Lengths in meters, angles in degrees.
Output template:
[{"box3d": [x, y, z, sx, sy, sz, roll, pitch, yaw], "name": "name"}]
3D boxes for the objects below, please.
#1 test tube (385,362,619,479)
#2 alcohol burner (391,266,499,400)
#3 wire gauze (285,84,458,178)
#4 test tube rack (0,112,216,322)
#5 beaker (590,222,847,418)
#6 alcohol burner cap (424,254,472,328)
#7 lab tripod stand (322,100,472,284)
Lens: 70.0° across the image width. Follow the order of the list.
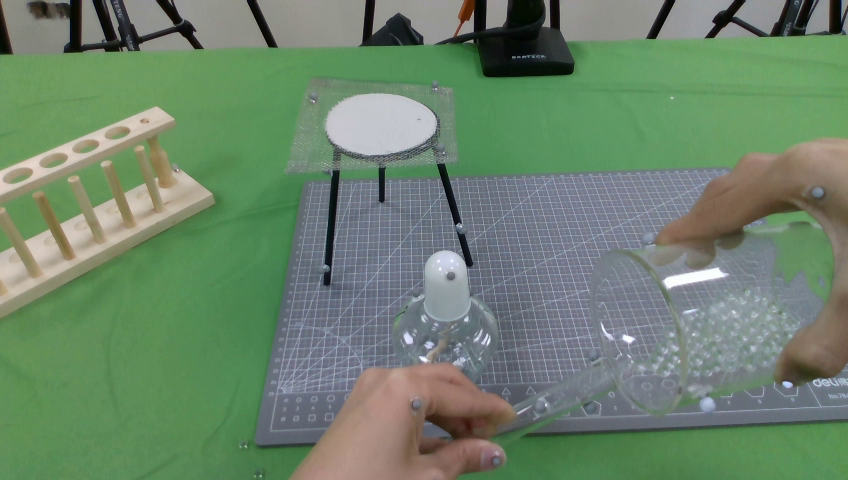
[{"box3d": [0.036, 0.106, 0.324, 0.150, 0.017, 0.017, -35, 38, 21], "name": "test tube"}, {"box3d": [0.015, 0.057, 0.421, 0.078, 0.120, 0.077, 0, 44, 0], "name": "alcohol burner"}, {"box3d": [-0.036, -0.087, 0.464, 0.121, 0.011, 0.124, 1, 43, 0], "name": "wire gauze"}, {"box3d": [-0.315, -0.019, 0.532, 0.066, 0.086, 0.242, 33, 52, 31], "name": "test tube rack"}, {"box3d": [0.138, 0.035, 0.278, 0.100, 0.084, 0.073, -10, 56, -10], "name": "beaker"}, {"box3d": [0.015, 0.031, 0.396, 0.034, 0.048, 0.033, -3, 42, 3], "name": "alcohol burner cap"}, {"box3d": [-0.027, -0.039, 0.511, 0.148, 0.132, 0.147, 1, 41, 0], "name": "lab tripod stand"}]
